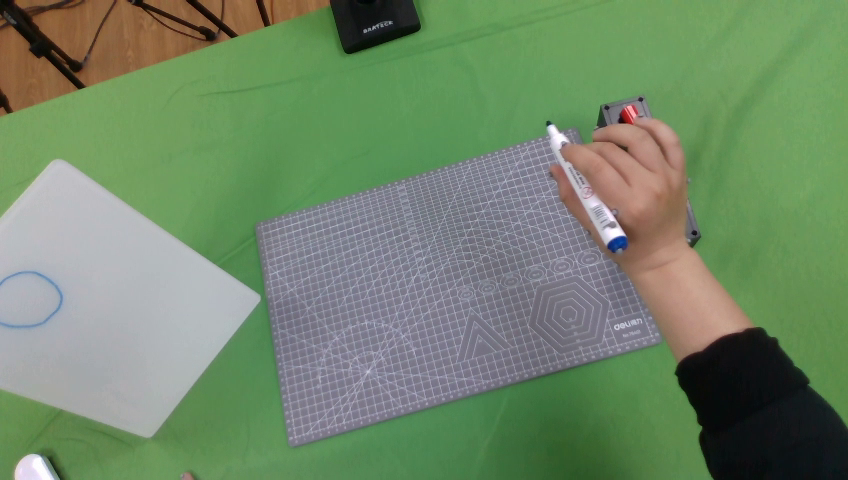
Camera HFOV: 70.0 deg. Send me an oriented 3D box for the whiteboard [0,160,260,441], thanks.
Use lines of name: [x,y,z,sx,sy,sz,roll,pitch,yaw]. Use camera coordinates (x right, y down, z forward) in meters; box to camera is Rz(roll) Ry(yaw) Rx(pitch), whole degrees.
whiteboard: [-0.384,0.062,0.688,0.142,0.309,0.217,28,76,38]

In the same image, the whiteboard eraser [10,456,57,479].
whiteboard eraser: [-0.463,0.306,0.730,0.041,0.019,0.100,-43,70,-8]

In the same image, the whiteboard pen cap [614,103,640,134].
whiteboard pen cap: [0.226,-0.135,0.674,0.017,0.017,0.032,-22,70,1]

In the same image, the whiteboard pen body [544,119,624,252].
whiteboard pen body: [0.122,-0.049,0.480,0.017,0.017,0.139,-20,56,2]
